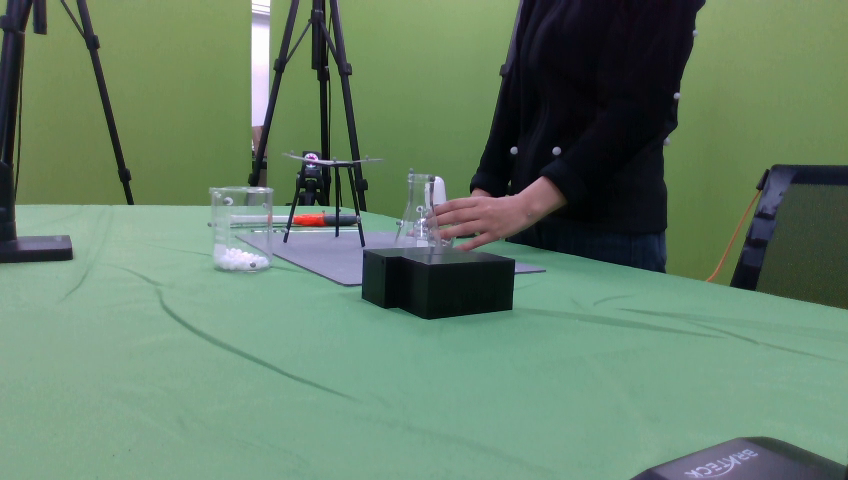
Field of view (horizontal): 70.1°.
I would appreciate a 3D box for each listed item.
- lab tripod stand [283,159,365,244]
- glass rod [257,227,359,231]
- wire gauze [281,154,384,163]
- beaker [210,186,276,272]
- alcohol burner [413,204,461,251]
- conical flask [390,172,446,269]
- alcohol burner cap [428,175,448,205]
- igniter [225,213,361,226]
[{"bbox_3d":[-0.151,-0.063,0.983,0.148,0.131,0.148,4,7,0],"label":"lab tripod stand"},{"bbox_3d":[-0.215,-0.021,1.151,0.201,0.008,0.008,-2,8,-28],"label":"glass rod"},{"bbox_3d":[-0.146,-0.130,0.977,0.124,0.011,0.122,9,10,41],"label":"wire gauze"},{"bbox_3d":[-0.224,-0.014,0.738,0.084,0.100,0.074,4,7,16],"label":"beaker"},{"bbox_3d":[0.021,-0.043,0.958,0.078,0.119,0.078,1,6,0],"label":"alcohol burner"},{"bbox_3d":[-0.006,-0.027,0.790,0.075,0.122,0.075,2,7,0],"label":"conical flask"},{"bbox_3d":[0.020,-0.078,0.954,0.034,0.048,0.034,-5,1,0],"label":"alcohol burner cap"},{"bbox_3d":[-0.257,-0.042,1.221,0.278,0.025,0.057,-2,-2,-32],"label":"igniter"}]
